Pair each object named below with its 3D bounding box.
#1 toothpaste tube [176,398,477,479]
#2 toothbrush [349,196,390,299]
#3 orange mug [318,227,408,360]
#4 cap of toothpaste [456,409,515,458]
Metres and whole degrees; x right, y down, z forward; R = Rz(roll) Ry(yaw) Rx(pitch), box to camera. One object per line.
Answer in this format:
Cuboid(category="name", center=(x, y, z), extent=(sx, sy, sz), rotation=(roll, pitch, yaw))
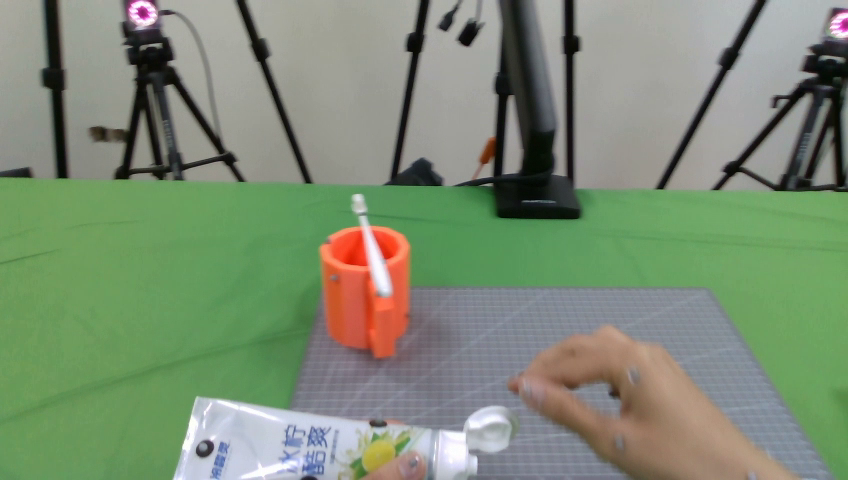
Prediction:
Cuboid(category="toothpaste tube", center=(-0.053, 0.119, 0.340), extent=(0.165, 0.035, 0.054), rotation=(4, 52, -1))
Cuboid(category="toothbrush", center=(-0.055, 0.002, 0.592), extent=(0.014, 0.017, 0.180), rotation=(-3, 31, -14))
Cuboid(category="orange mug", center=(-0.055, 0.056, 0.603), extent=(0.084, 0.101, 0.125), rotation=(-10, 29, -16))
Cuboid(category="cap of toothpaste", center=(0.037, 0.115, 0.357), extent=(0.037, 0.037, 0.011), rotation=(-5, 30, -8))
